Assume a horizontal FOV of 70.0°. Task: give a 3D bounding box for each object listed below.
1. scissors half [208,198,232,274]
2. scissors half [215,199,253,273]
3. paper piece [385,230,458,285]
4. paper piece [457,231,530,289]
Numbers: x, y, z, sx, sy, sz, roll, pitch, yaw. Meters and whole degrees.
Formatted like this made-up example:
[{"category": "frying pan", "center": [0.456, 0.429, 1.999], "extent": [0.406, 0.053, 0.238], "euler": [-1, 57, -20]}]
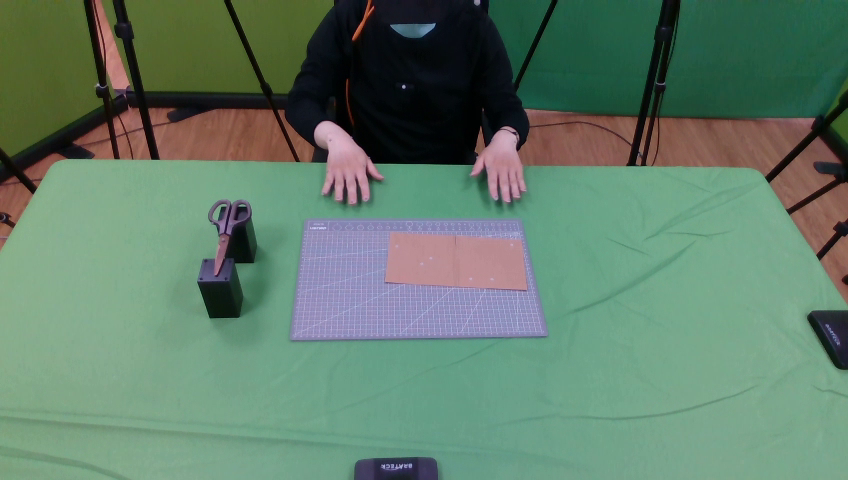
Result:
[{"category": "scissors half", "center": [-0.352, -0.009, 1.046], "extent": [0.040, 0.013, 0.174], "euler": [-3, 49, -15]}, {"category": "scissors half", "center": [-0.332, -0.009, 1.049], "extent": [0.040, 0.013, 0.174], "euler": [7, 48, 1]}, {"category": "paper piece", "center": [-0.002, 0.031, 1.169], "extent": [0.136, 0.004, 0.134], "euler": [3, 48, 1]}, {"category": "paper piece", "center": [0.132, 0.038, 1.171], "extent": [0.138, 0.009, 0.135], "euler": [4, 50, -1]}]
